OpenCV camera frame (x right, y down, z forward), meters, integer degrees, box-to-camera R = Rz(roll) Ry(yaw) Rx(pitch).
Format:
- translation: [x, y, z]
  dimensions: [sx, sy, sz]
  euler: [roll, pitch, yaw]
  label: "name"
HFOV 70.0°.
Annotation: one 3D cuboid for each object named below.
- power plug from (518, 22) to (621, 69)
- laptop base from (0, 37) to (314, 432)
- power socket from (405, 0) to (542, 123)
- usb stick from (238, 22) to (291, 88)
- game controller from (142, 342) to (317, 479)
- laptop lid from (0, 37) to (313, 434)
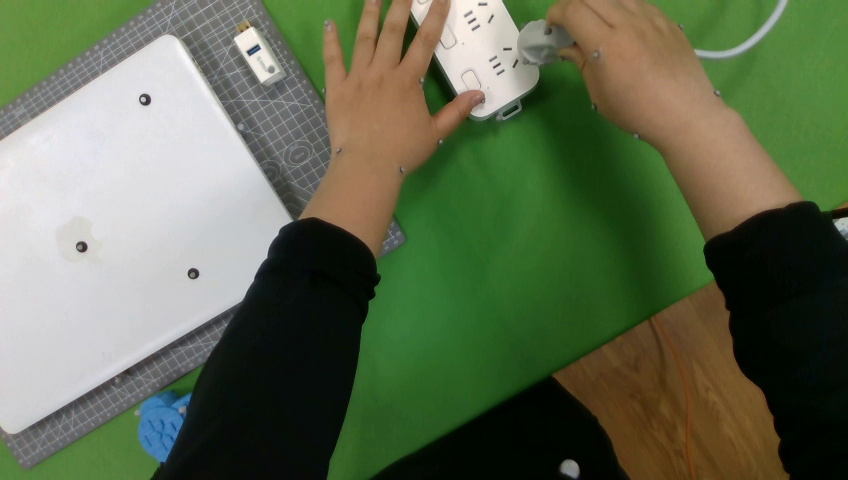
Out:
- translation: [0.111, -0.152, 0.483]
  dimensions: [0.073, 0.052, 0.035]
  euler: [9, 96, -7]
  label: "power plug"
- translation: [-0.307, 0.003, 0.567]
  dimensions: [0.354, 0.023, 0.236]
  euler: [-30, 98, 6]
  label: "laptop base"
- translation: [0.025, -0.206, 0.519]
  dimensions: [0.072, 0.032, 0.227]
  euler: [-29, 95, 8]
  label: "power socket"
- translation: [-0.144, -0.166, 0.533]
  dimensions: [0.021, 0.027, 0.059]
  euler: [-31, 92, 8]
  label: "usb stick"
- translation: [-0.189, 0.164, 0.568]
  dimensions: [0.155, 0.051, 0.097]
  euler: [-30, 90, 6]
  label: "game controller"
- translation: [-0.306, 0.006, 0.556]
  dimensions: [0.356, 0.013, 0.242]
  euler: [-29, 97, 6]
  label: "laptop lid"
